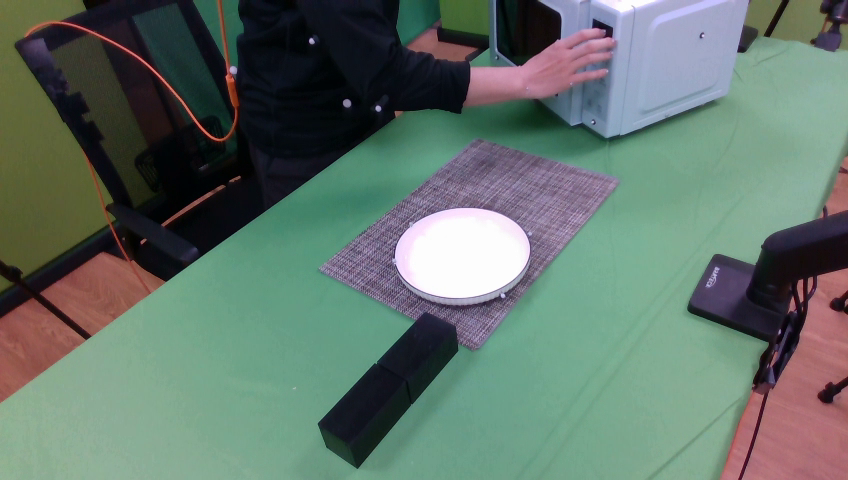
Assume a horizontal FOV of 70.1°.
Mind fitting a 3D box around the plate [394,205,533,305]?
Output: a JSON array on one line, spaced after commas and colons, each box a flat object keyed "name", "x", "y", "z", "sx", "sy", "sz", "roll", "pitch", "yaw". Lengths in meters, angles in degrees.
[{"name": "plate", "x": 0.059, "y": 0.025, "z": 0.915, "sx": 0.207, "sy": 0.039, "sz": 0.206, "roll": -4, "pitch": 41, "yaw": 4}]

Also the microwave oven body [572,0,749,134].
[{"name": "microwave oven body", "x": 0.382, "y": -0.444, "z": 1.246, "sx": 0.327, "sy": 0.261, "sz": 0.437, "roll": -22, "pitch": 42, "yaw": -16}]

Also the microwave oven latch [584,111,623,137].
[{"name": "microwave oven latch", "x": 0.337, "y": -0.222, "z": 1.142, "sx": 0.030, "sy": 0.029, "sz": 0.078, "roll": -21, "pitch": 42, "yaw": -14}]

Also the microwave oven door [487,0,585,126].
[{"name": "microwave oven door", "x": 0.222, "y": -0.416, "z": 1.228, "sx": 0.039, "sy": 0.245, "sz": 0.352, "roll": -19, "pitch": 42, "yaw": -13}]
